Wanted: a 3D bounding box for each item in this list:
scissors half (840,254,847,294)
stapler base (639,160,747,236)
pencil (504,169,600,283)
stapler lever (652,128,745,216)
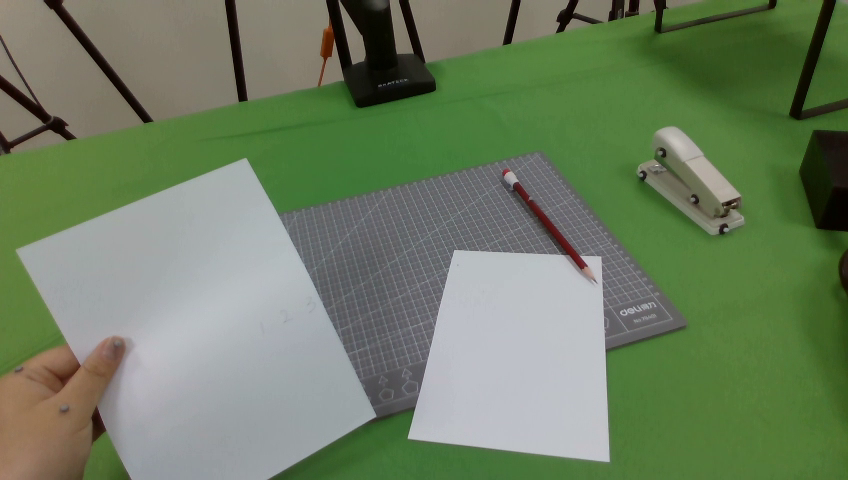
[{"bbox_3d":[0.389,-0.017,0.525,0.040,0.013,0.174,11,66,26],"label":"scissors half"},{"bbox_3d":[0.275,-0.054,0.626,0.041,0.025,0.129,-20,43,-10],"label":"stapler base"},{"bbox_3d":[0.126,-0.019,0.614,0.012,0.012,0.191,-17,43,-11],"label":"pencil"},{"bbox_3d":[0.273,-0.072,0.608,0.027,0.040,0.116,-20,43,-10],"label":"stapler lever"}]
